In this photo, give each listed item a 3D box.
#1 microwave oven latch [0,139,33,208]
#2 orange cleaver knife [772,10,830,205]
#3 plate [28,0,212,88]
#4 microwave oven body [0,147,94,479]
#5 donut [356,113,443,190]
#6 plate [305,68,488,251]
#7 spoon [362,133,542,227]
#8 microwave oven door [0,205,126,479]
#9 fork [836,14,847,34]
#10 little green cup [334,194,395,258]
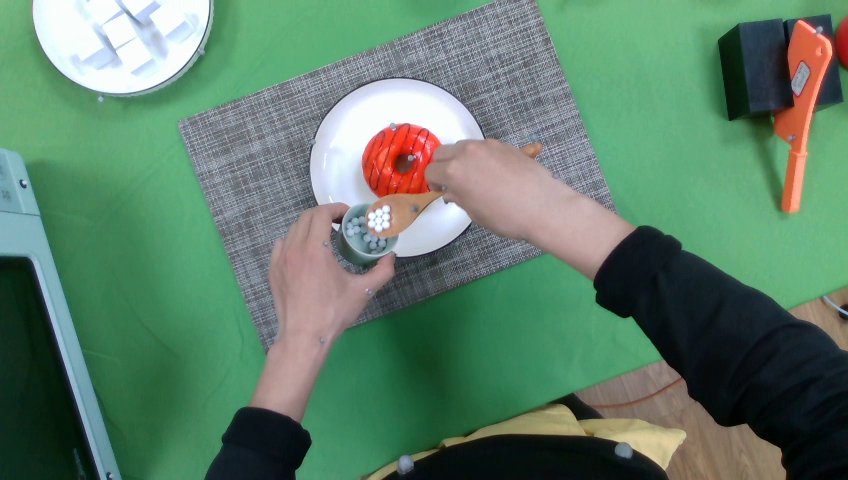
[{"bbox_3d":[-0.473,-0.074,0.686,0.030,0.029,0.079,-17,90,-1],"label":"microwave oven latch"},{"bbox_3d":[0.414,-0.144,0.682,0.012,0.076,0.213,-6,119,2],"label":"orange cleaver knife"},{"bbox_3d":[-0.347,-0.277,0.706,0.208,0.039,0.207,0,89,0],"label":"plate"},{"bbox_3d":[-0.560,0.138,0.588,0.326,0.260,0.441,-18,90,-1],"label":"microwave oven body"},{"bbox_3d":[-0.028,-0.095,0.689,0.099,0.048,0.099,0,92,1],"label":"donut"},{"bbox_3d":[-0.031,-0.091,0.700,0.209,0.038,0.209,0,90,0],"label":"plate"},{"bbox_3d":[0.021,-0.056,0.567,0.193,0.022,0.041,-21,84,30],"label":"spoon"},{"bbox_3d":[-0.409,0.133,0.583,0.039,0.244,0.355,-18,89,0],"label":"microwave oven door"},{"bbox_3d":[0.567,-0.244,0.651,0.206,0.019,0.028,8,87,42],"label":"fork"},{"bbox_3d":[-0.064,-0.012,0.626,0.062,0.039,0.061,10,58,-16],"label":"little green cup"}]
